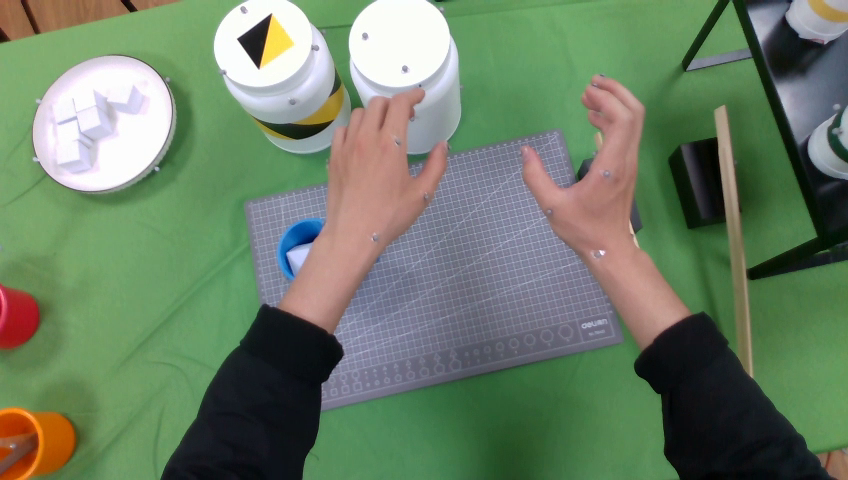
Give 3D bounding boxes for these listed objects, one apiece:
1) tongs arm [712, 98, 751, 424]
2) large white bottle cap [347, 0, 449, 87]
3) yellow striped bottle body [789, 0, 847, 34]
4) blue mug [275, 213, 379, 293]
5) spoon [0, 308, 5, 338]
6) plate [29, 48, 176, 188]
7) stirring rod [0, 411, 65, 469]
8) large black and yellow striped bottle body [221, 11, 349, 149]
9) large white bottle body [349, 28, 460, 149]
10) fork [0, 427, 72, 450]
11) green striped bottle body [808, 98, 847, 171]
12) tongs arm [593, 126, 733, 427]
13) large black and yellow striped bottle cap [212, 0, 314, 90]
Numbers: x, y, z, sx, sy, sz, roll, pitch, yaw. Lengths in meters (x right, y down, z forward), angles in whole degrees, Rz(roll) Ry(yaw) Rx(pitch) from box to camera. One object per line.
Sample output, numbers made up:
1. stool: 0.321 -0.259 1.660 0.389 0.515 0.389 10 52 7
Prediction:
1. tongs arm: 0.365 0.024 0.728 0.028 0.028 0.387 -4 89 -5
2. large white bottle cap: -0.029 -0.227 0.681 0.115 0.018 0.114 -1 77 4
3. yellow striped bottle body: 0.417 -0.261 0.590 0.063 0.121 0.062 -1 77 4
4. blue mug: -0.114 0.017 0.759 0.116 0.106 0.082 -6 77 3
5. spoon: -0.549 0.056 0.765 0.041 0.021 0.195 32 125 13
6. plate: -0.450 -0.170 0.861 0.207 0.039 0.206 -1 78 4
7. stirring rod: -0.508 0.267 0.720 0.014 0.006 0.175 33 39 7
8. large black and yellow striped bottle body: -0.177 -0.208 0.774 0.131 0.185 0.130 -1 77 4
9. large white bottle body: -0.022 -0.207 0.763 0.130 0.185 0.130 -1 77 4
10. fork: -0.539 0.235 0.722 0.209 0.018 0.028 15 73 -37
11. green striped bottle body: 0.417 -0.112 0.559 0.063 0.120 0.063 -1 77 5
12. tongs arm: 0.285 0.042 0.727 0.051 0.026 0.384 -17 89 -2
13. large black and yellow striped bottle cap: -0.184 -0.228 0.693 0.115 0.019 0.114 -1 79 3
